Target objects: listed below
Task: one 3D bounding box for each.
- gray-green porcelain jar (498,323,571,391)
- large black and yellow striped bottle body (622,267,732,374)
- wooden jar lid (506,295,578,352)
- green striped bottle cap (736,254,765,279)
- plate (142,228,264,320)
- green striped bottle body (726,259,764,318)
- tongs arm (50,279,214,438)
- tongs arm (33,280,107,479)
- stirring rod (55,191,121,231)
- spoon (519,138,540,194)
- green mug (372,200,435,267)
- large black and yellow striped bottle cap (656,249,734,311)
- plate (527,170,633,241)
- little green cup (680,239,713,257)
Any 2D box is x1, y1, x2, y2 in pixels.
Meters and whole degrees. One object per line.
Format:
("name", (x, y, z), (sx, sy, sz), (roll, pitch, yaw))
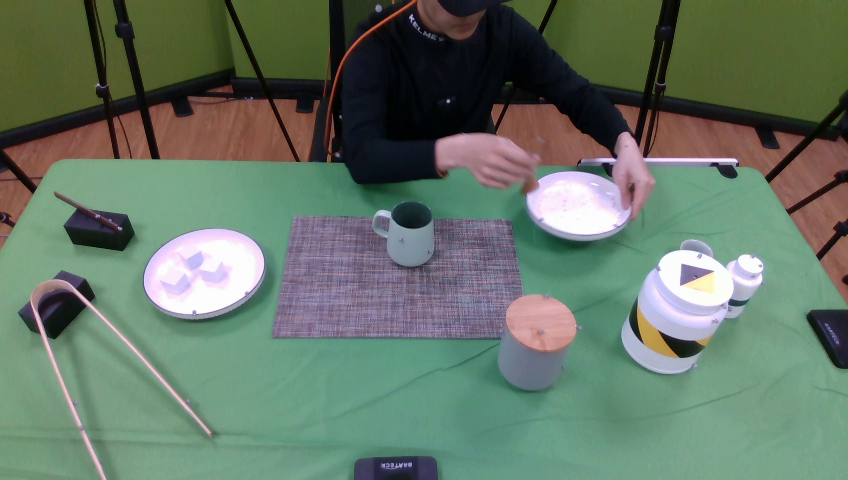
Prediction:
("gray-green porcelain jar", (0.176, 0.172, 0.971), (0.106, 0.127, 0.105), (2, 46, -2))
("large black and yellow striped bottle body", (0.415, 0.119, 0.997), (0.131, 0.185, 0.130), (2, 46, -2))
("wooden jar lid", (0.179, 0.129, 0.925), (0.108, 0.021, 0.107), (2, 43, -2))
("green striped bottle cap", (0.566, 0.046, 1.051), (0.044, 0.020, 0.044), (0, 44, 0))
("plate", (-0.394, 0.064, 1.095), (0.208, 0.039, 0.206), (2, 46, -2))
("green striped bottle body", (0.563, 0.081, 1.089), (0.063, 0.120, 0.063), (2, 46, -2))
("tongs arm", (-0.459, 0.178, 0.949), (0.386, 0.028, 0.028), (38, 60, 17))
("tongs arm", (-0.517, 0.213, 0.909), (0.051, 0.026, 0.383), (-29, 63, -26))
("stirring rod", (-0.632, -0.055, 1.138), (0.175, 0.014, 0.006), (24, 50, 19))
("spoon", (0.188, -0.128, 1.070), (0.041, 0.194, 0.021), (-15, 64, 1))
("green mug", (-0.040, -0.016, 1.146), (0.125, 0.105, 0.092), (17, 48, 13))
("large black and yellow striped bottle cap", (0.419, 0.061, 0.938), (0.115, 0.019, 0.114), (2, 47, -2))
("plate", (0.309, -0.066, 1.219), (0.209, 0.038, 0.208), (-1, 43, 1))
("little green cup", (0.530, 0.033, 1.189), (0.061, 0.039, 0.061), (2, 47, -2))
